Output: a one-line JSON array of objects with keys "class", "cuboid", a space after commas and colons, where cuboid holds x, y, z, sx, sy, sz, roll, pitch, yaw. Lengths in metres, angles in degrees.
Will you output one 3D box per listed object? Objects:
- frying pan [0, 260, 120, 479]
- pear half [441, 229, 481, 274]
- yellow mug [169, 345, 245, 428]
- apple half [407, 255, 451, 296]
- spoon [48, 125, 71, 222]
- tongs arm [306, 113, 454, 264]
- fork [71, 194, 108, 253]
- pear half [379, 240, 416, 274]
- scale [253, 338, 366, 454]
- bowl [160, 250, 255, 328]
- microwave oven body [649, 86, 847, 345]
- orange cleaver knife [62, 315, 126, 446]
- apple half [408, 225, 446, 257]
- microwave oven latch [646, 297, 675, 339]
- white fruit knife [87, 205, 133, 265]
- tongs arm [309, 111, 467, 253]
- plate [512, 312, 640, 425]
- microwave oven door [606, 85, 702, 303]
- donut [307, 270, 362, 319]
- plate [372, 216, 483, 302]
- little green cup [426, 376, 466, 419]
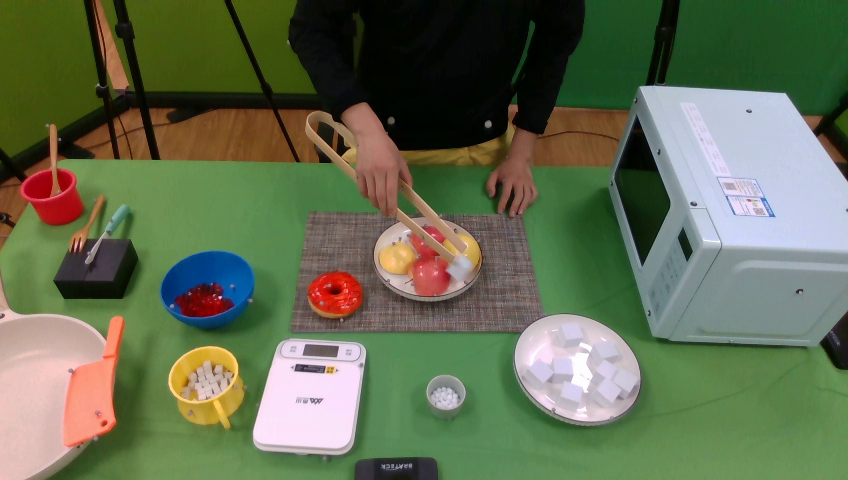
[{"class": "frying pan", "cuboid": [-0.647, 0.164, 0.936, 0.307, 0.103, 0.485, -19, 58, -22]}, {"class": "pear half", "cuboid": [0.065, 0.007, 1.149, 0.076, 0.056, 0.109, -11, 43, -2]}, {"class": "yellow mug", "cuboid": [-0.322, 0.230, 0.922, 0.100, 0.064, 0.130, -24, 53, -25]}, {"class": "apple half", "cuboid": [0.012, 0.058, 1.103, 0.075, 0.053, 0.080, -6, 43, -14]}, {"class": "spoon", "cuboid": [-0.718, -0.131, 1.188, 0.041, 0.021, 0.193, -3, 90, -7]}, {"class": "tongs arm", "cuboid": [-0.088, -0.094, 1.088, 0.386, 0.028, 0.028, 43, 60, 12]}, {"class": "fork", "cuboid": [-0.634, -0.036, 1.158, 0.028, 0.019, 0.206, -8, 31, -8]}, {"class": "pear half", "cuboid": [-0.048, 0.024, 1.146, 0.070, 0.031, 0.087, 11, 48, -12]}, {"class": "scale", "cuboid": [-0.175, 0.236, 0.951, 0.149, 0.032, 0.199, 5, 45, -1]}, {"class": "bowl", "cuboid": [-0.362, 0.098, 1.040, 0.151, 0.077, 0.150, 2, 45, -2]}, {"class": "microwave oven body", "cuboid": [0.567, -0.053, 1.118, 0.326, 0.261, 0.439, 2, 45, -1]}, {"class": "orange cleaver knife", "cuboid": [-0.480, 0.199, 0.887, 0.077, 0.012, 0.210, -9, 47, -8]}, {"class": "apple half", "cuboid": [0.011, -0.006, 1.177, 0.081, 0.033, 0.081, 2, 53, -3]}, {"class": "microwave oven latch", "cuboid": [0.412, 0.134, 1.061, 0.030, 0.029, 0.078, 4, 45, 1]}, {"class": "white fruit knife", "cuboid": [-0.584, -0.013, 1.129, 0.016, 0.027, 0.206, -1, 32, -4]}, {"class": "tongs arm", "cuboid": [-0.072, -0.107, 1.102, 0.051, 0.026, 0.383, -34, 73, -32]}, {"class": "plate", "cuboid": [0.246, 0.213, 0.999, 0.208, 0.039, 0.206, 2, 46, -2]}, {"class": "microwave oven door", "cuboid": [0.422, -0.094, 1.140, 0.039, 0.245, 0.353, 2, 46, -1]}, {"class": "donut", "cuboid": [-0.158, 0.096, 1.073, 0.099, 0.048, 0.098, 4, 45, -4]}, {"class": "plate", "cuboid": [0.006, 0.038, 1.145, 0.209, 0.038, 0.208, 2, 46, -2]}, {"class": "little green cup", "cuboid": [0.033, 0.248, 0.950, 0.061, 0.039, 0.061, 2, 46, -2]}]
